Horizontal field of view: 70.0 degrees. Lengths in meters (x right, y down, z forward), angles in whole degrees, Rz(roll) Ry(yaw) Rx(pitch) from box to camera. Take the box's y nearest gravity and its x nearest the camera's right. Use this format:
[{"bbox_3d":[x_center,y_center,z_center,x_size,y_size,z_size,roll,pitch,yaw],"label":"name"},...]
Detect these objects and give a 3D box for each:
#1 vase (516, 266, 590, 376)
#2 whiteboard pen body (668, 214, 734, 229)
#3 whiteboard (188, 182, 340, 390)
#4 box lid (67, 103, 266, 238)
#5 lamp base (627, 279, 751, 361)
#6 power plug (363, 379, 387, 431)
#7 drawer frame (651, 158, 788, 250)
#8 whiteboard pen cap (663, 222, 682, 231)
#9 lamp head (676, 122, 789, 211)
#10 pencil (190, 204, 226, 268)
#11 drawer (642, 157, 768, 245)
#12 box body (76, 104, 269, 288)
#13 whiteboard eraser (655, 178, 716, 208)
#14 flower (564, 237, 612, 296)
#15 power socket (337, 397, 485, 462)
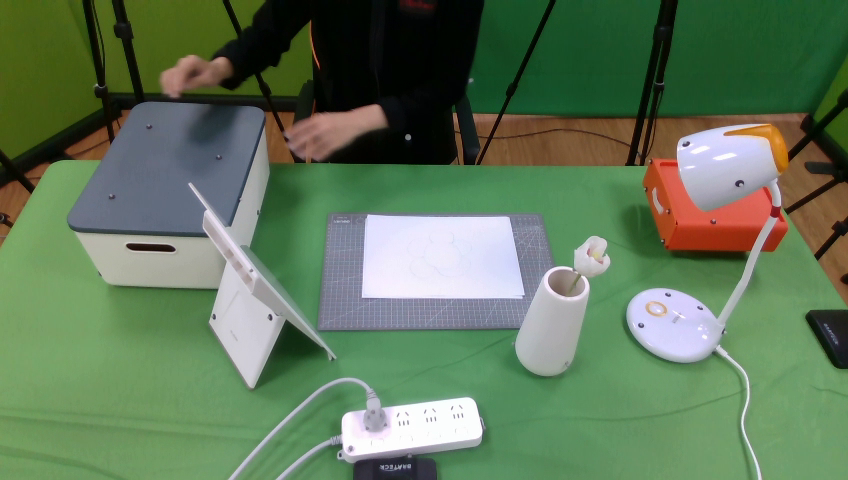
[{"bbox_3d":[0.208,0.132,0.964,0.098,0.201,0.097,3,46,-3],"label":"vase"},{"bbox_3d":[0.547,-0.035,1.200,0.141,0.017,0.017,-8,48,-9],"label":"whiteboard pen body"},{"bbox_3d":[-0.292,0.096,0.929,0.144,0.307,0.216,-38,57,-11],"label":"whiteboard"},{"bbox_3d":[-0.447,-0.137,1.094,0.263,0.015,0.369,2,45,-2],"label":"box lid"},{"bbox_3d":[0.459,0.100,1.027,0.178,0.181,0.160,27,51,17],"label":"lamp base"},{"bbox_3d":[-0.072,0.252,0.910,0.035,0.053,0.072,3,45,-1],"label":"power plug"},{"bbox_3d":[0.571,-0.074,1.213,0.214,0.083,0.200,1,46,0],"label":"drawer frame"},{"bbox_3d":[0.487,-0.027,1.188,0.033,0.018,0.018,0,46,-14],"label":"whiteboard pen cap"},{"bbox_3d":[0.423,-0.104,0.819,0.122,0.113,0.112,-13,33,40],"label":"lamp head"},{"bbox_3d":[-0.417,-0.012,1.182,0.012,0.012,0.193,5,40,0],"label":"pencil"},{"bbox_3d":[0.564,-0.075,1.210,0.212,0.073,0.193,3,45,-1],"label":"drawer"},{"bbox_3d":[-0.450,-0.087,1.149,0.254,0.161,0.361,2,46,-2],"label":"box body"},{"bbox_3d":[0.538,-0.095,1.251,0.113,0.042,0.055,4,52,-10],"label":"whiteboard eraser"},{"bbox_3d":[0.206,0.088,0.892,0.038,0.363,0.044,-16,67,-9],"label":"flower"},{"bbox_3d":[-0.018,0.285,0.915,0.227,0.033,0.071,-5,46,-8],"label":"power socket"}]
